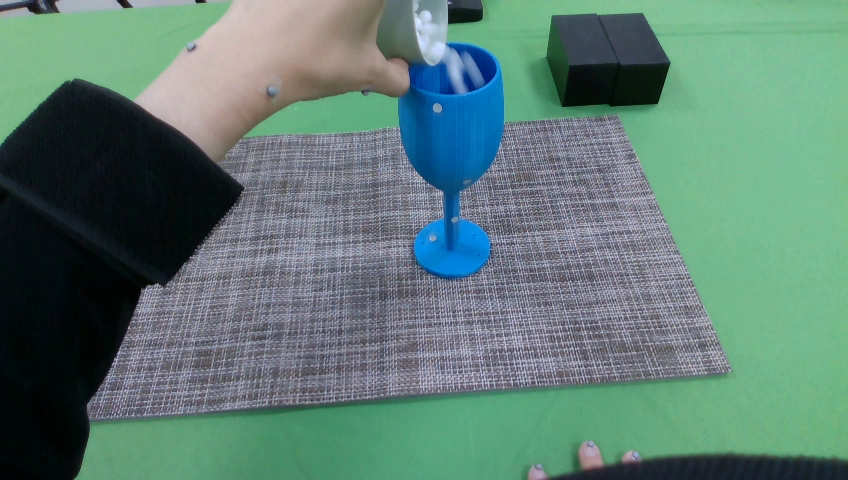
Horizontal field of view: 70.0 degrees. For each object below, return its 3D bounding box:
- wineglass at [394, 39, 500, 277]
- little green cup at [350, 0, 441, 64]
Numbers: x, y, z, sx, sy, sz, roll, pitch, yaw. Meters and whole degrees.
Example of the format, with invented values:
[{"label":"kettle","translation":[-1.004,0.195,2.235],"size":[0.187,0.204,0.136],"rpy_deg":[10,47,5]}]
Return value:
[{"label":"wineglass","translation":[0.017,-0.052,0.443],"size":[0.074,0.174,0.073],"rpy_deg":[-1,48,2]},{"label":"little green cup","translation":[-0.017,-0.138,0.365],"size":[0.038,0.062,0.061],"rpy_deg":[4,48,19]}]
